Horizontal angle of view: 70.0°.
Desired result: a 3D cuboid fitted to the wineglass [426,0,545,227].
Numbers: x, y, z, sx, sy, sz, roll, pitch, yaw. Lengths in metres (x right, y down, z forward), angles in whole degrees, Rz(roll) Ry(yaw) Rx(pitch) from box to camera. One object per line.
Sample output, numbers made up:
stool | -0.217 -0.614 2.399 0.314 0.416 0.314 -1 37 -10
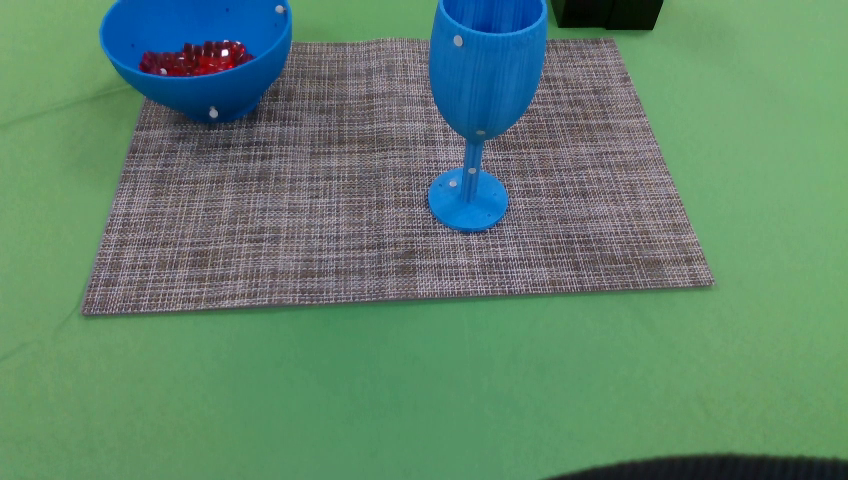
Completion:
wineglass | 0.036 -0.087 0.415 0.074 0.173 0.073 1 54 -1

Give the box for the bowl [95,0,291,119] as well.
bowl | -0.184 -0.157 0.515 0.151 0.077 0.150 1 54 -2
